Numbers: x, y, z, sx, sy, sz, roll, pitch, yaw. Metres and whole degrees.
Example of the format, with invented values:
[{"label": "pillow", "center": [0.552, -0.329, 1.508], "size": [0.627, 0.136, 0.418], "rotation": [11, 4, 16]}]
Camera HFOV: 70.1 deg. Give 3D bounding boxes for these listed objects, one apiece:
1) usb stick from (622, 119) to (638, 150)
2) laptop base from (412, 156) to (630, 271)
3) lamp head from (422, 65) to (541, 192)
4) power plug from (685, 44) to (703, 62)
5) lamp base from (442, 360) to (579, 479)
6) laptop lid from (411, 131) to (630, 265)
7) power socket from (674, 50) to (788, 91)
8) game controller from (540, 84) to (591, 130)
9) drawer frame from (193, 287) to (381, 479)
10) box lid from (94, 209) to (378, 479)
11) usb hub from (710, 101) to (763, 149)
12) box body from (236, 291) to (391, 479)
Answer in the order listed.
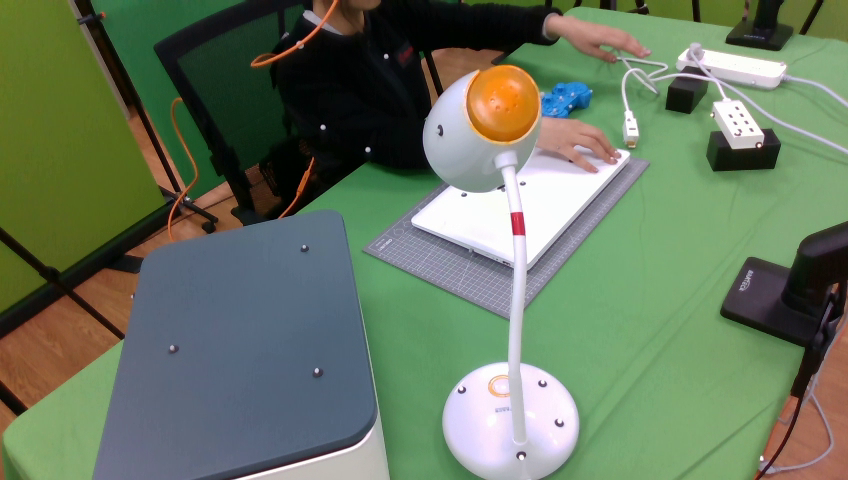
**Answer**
[{"label": "usb stick", "center": [0.388, -0.197, 1.137], "size": [0.021, 0.027, 0.059], "rotation": [5, 60, 1]}, {"label": "laptop base", "center": [0.175, -0.084, 1.056], "size": [0.233, 0.023, 0.355], "rotation": [21, 48, 36]}, {"label": "lamp head", "center": [0.060, -0.105, 0.560], "size": [0.113, 0.112, 0.122], "rotation": [-16, 0, -8]}, {"label": "power plug", "center": [0.568, -0.390, 1.294], "size": [0.073, 0.053, 0.035], "rotation": [-33, 46, -22]}, {"label": "lamp base", "center": [0.094, 0.158, 0.657], "size": [0.161, 0.181, 0.178], "rotation": [-13, 42, -5]}, {"label": "laptop lid", "center": [0.172, -0.094, 1.050], "size": [0.239, 0.013, 0.358], "rotation": [23, 49, 36]}, {"label": "power socket", "center": [0.646, -0.363, 1.284], "size": [0.225, 0.033, 0.072], "rotation": [25, 52, 34]}, {"label": "game controller", "center": [0.277, -0.282, 1.250], "size": [0.096, 0.052, 0.155], "rotation": [28, 53, 30]}, {"label": "drawer frame", "center": [-0.172, 0.176, 0.755], "size": [0.202, 0.083, 0.212], "rotation": [-14, 42, -7]}, {"label": "box lid", "center": [-0.202, 0.094, 0.680], "size": [0.264, 0.015, 0.368], "rotation": [-13, 39, -5]}, {"label": "usb hub", "center": [0.535, -0.200, 1.041], "size": [0.049, 0.025, 0.124], "rotation": [-4, 39, 8]}, {"label": "box body", "center": [-0.190, 0.161, 0.723], "size": [0.255, 0.161, 0.361], "rotation": [-13, 40, -5]}]
